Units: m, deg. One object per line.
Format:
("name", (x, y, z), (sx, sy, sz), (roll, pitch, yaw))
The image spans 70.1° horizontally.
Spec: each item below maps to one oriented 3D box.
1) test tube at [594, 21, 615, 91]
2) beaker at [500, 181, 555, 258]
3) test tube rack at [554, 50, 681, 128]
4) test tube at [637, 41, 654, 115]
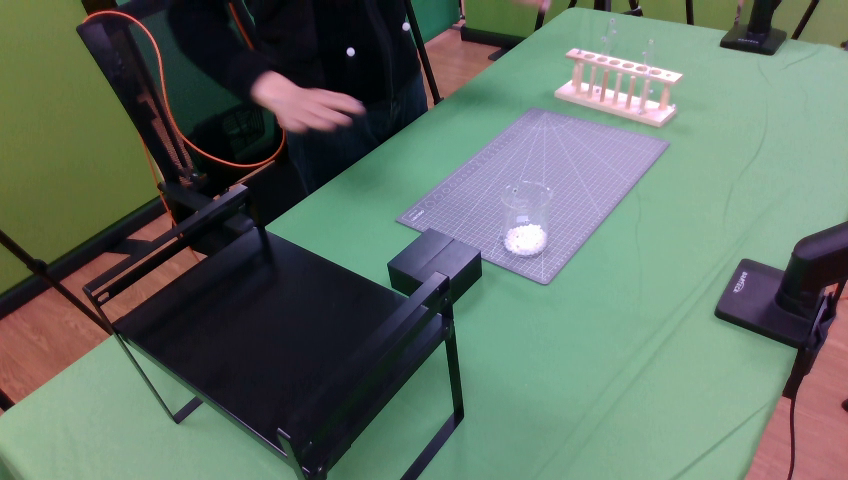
("test tube", (0.366, -0.372, 1.233), (0.017, 0.151, 0.017), (0, 43, 0))
("beaker", (0.158, -0.030, 0.923), (0.084, 0.100, 0.073), (-13, 41, -8))
("test tube rack", (0.387, -0.311, 1.234), (0.240, 0.085, 0.067), (28, 51, 34))
("test tube", (0.423, -0.307, 1.154), (0.017, 0.151, 0.017), (-5, 41, 5))
